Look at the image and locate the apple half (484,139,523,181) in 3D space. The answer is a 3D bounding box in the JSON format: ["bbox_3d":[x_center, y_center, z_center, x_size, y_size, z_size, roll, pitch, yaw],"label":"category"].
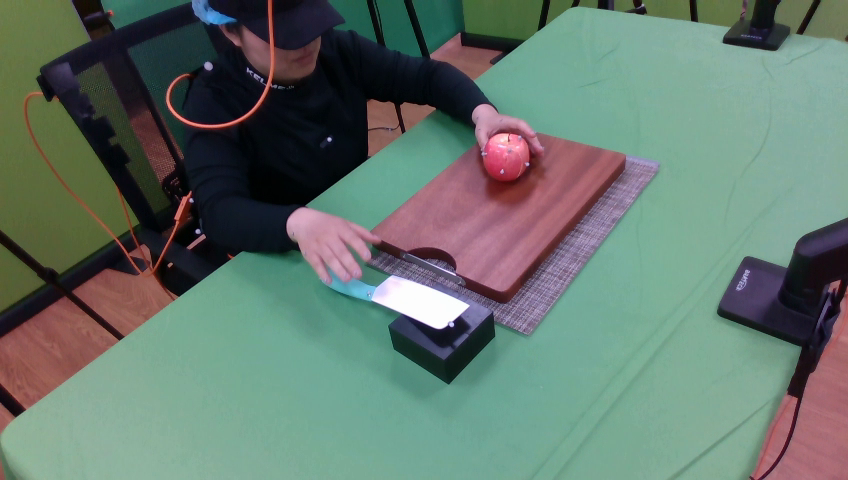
[{"bbox_3d":[0.128,-0.129,1.029,0.080,0.081,0.033,22,45,32],"label":"apple half"}]

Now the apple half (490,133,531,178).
[{"bbox_3d":[0.153,-0.150,1.051,0.080,0.075,0.053,21,45,35],"label":"apple half"}]

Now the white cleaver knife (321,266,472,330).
[{"bbox_3d":[-0.049,0.075,0.867,0.284,0.021,0.066,16,42,43],"label":"white cleaver knife"}]
